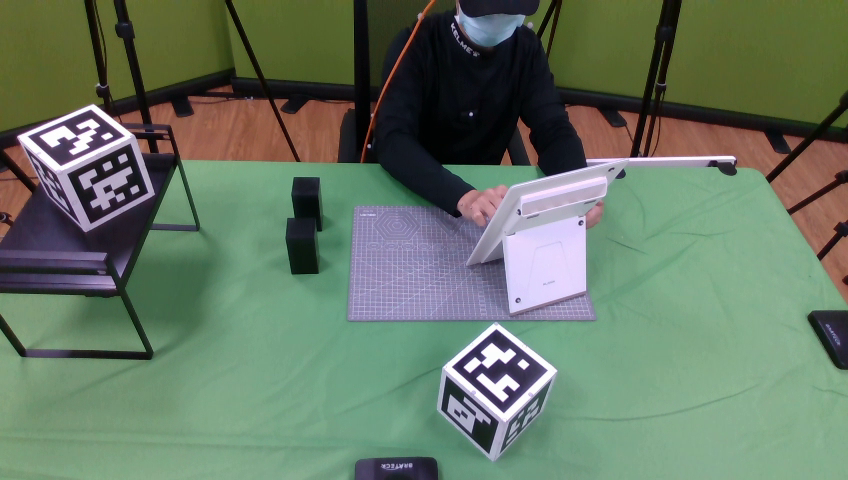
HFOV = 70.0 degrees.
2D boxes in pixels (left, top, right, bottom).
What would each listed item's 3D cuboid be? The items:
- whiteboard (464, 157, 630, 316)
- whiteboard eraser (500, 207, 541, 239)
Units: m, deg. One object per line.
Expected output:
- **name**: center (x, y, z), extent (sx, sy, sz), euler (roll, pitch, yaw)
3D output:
- **whiteboard**: center (0.224, 0.015, 1.042), extent (0.217, 0.306, 0.143), euler (-13, 68, -17)
- **whiteboard eraser**: center (0.176, -0.032, 1.104), extent (0.041, 0.101, 0.018), euler (-11, 71, -32)
